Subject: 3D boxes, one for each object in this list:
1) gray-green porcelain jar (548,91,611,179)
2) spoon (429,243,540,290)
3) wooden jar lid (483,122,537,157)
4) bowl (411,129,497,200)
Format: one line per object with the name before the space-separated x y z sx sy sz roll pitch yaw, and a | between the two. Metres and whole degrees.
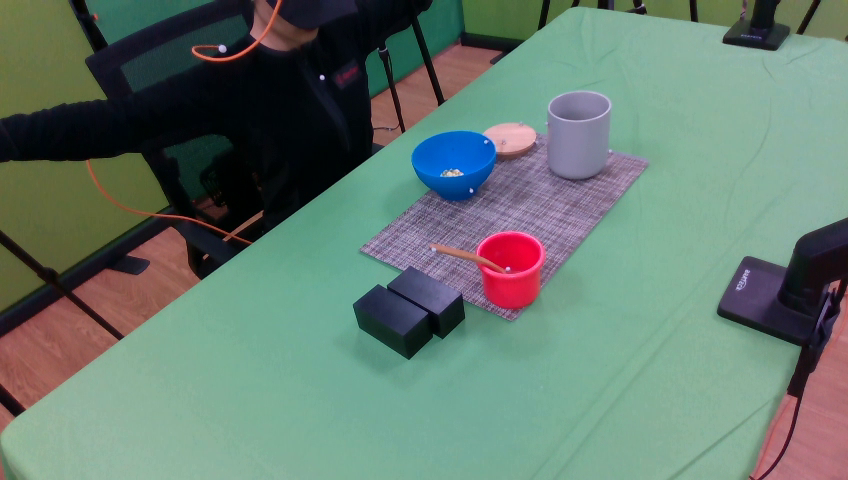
gray-green porcelain jar | 0.269 -0.179 1.056 0.106 0.127 0.105 -6 40 5
spoon | 0.086 0.033 0.826 0.195 0.021 0.041 23 26 -33
wooden jar lid | 0.165 -0.195 1.177 0.108 0.021 0.108 -4 40 4
bowl | 0.056 -0.124 1.069 0.151 0.077 0.150 -5 40 5
